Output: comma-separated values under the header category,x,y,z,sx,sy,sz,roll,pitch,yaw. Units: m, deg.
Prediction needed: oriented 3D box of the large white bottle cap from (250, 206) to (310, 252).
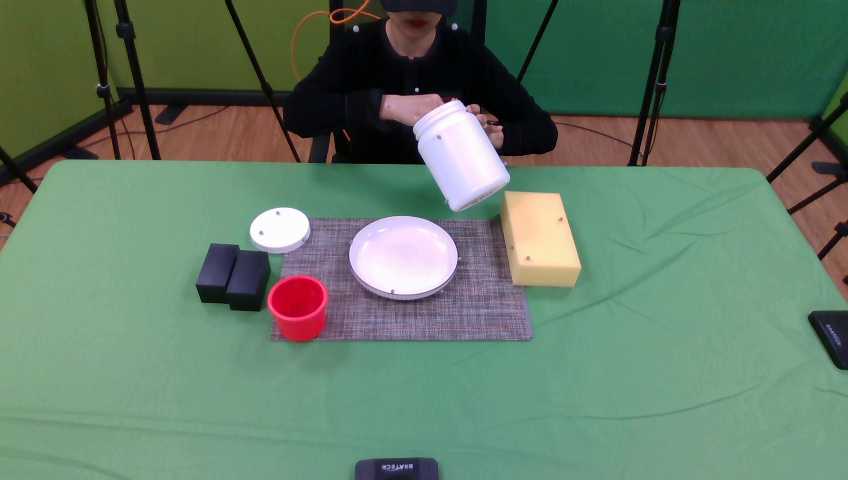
category,x,y,z,sx,sy,sz,roll,pitch,yaw
large white bottle cap,-0.284,-0.023,1.198,0.115,0.018,0.114,1,46,0

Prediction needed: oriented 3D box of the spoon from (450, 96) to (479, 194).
category,x,y,z,sx,sy,sz,roll,pitch,yaw
spoon,0.071,-0.184,1.174,0.042,0.021,0.193,-11,85,-19

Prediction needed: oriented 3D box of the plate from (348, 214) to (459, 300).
category,x,y,z,sx,sy,sz,roll,pitch,yaw
plate,-0.040,0.034,1.146,0.209,0.038,0.208,2,47,-2

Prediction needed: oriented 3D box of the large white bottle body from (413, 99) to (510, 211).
category,x,y,z,sx,sy,sz,roll,pitch,yaw
large white bottle body,0.068,-0.164,1.164,0.130,0.130,0.184,-28,86,-26

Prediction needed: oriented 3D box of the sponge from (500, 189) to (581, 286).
category,x,y,z,sx,sy,sz,roll,pitch,yaw
sponge,0.224,-0.007,1.192,0.118,0.061,0.205,1,47,-6
